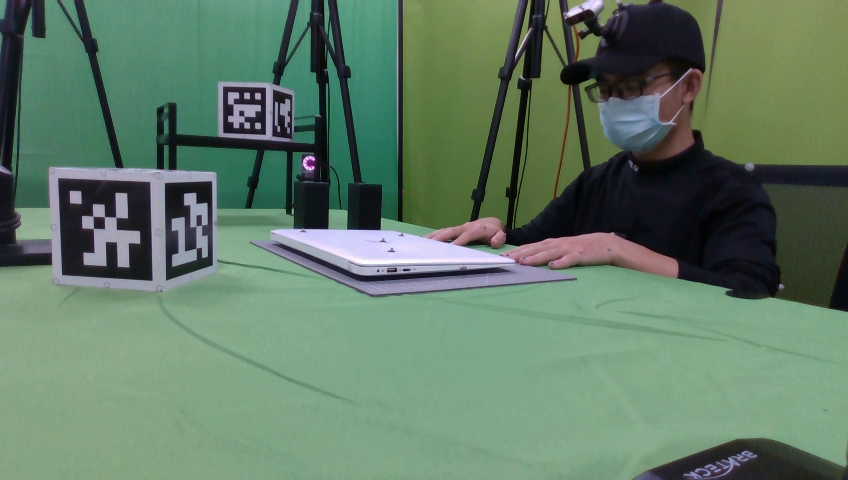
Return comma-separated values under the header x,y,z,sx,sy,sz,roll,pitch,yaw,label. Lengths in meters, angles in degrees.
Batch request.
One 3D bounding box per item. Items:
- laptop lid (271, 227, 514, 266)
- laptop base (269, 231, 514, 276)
x,y,z,sx,sy,sz,roll,pitch,yaw,label
-0.063,0.005,0.893,0.243,0.013,0.355,1,7,-30,laptop lid
-0.066,0.017,0.893,0.237,0.023,0.352,2,6,-32,laptop base
